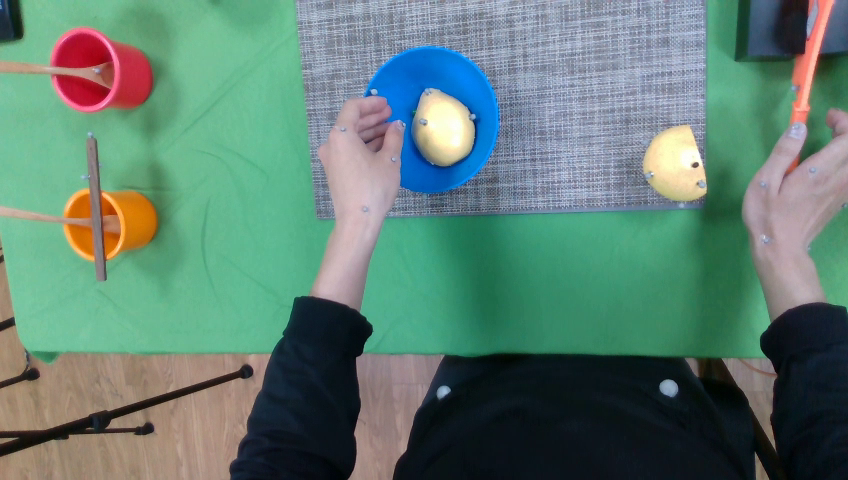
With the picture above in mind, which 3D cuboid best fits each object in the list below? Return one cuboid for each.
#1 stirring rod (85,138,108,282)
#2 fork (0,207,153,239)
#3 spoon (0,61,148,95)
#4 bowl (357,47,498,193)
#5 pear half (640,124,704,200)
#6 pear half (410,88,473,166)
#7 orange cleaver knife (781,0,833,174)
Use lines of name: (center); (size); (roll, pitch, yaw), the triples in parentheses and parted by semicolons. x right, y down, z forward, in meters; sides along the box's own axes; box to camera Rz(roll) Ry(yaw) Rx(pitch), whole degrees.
stirring rod: (-0.399, -0.035, 0.737); (0.014, 0.006, 0.176); (3, 101, 9)
fork: (-0.449, -0.026, 0.751); (0.209, 0.018, 0.028); (8, 114, -33)
spoon: (-0.437, -0.201, 0.723); (0.195, 0.021, 0.042); (-3, 103, -31)
bowl: (0.011, -0.129, 0.664); (0.151, 0.077, 0.151); (2, 100, 13)
pear half: (0.248, -0.074, 0.604); (0.056, 0.110, 0.076); (-21, 90, 16)
pear half: (0.015, -0.126, 0.657); (0.070, 0.031, 0.088); (-22, 89, 11)
orange cleaver knife: (0.364, -0.166, 0.581); (0.012, 0.076, 0.213); (2, 128, 18)
